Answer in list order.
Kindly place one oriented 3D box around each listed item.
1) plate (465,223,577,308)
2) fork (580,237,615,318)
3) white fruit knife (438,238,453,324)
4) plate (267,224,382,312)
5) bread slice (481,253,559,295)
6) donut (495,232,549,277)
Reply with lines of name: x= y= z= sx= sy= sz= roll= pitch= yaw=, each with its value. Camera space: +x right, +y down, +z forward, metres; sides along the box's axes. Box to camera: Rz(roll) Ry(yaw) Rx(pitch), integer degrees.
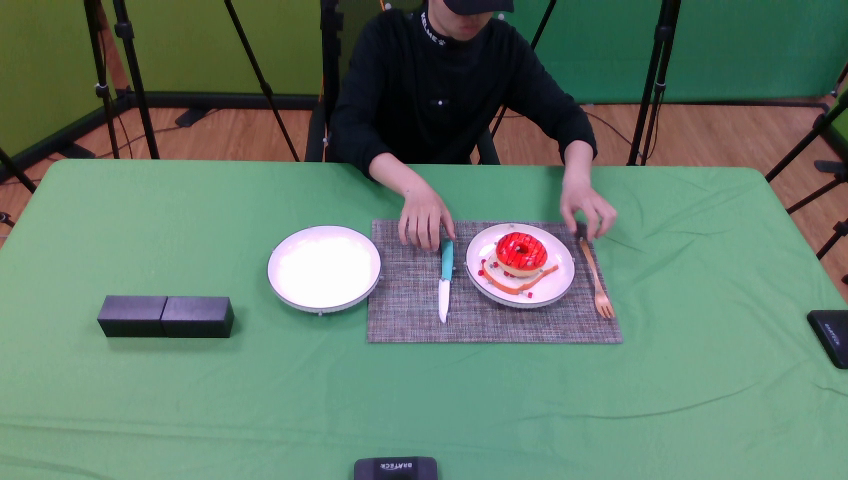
plate: x=0.180 y=0.051 z=1.144 sx=0.209 sy=0.038 sz=0.208 roll=2 pitch=45 yaw=-2
fork: x=0.325 y=0.067 z=1.151 sx=0.028 sy=0.019 sz=0.206 roll=-6 pitch=48 yaw=1
white fruit knife: x=0.040 y=0.073 z=1.130 sx=0.027 sy=0.016 sz=0.206 roll=-17 pitch=44 yaw=21
plate: x=-0.182 y=0.055 z=1.120 sx=0.208 sy=0.039 sz=0.206 roll=2 pitch=46 yaw=-2
bread slice: x=0.177 y=0.049 z=1.148 sx=0.131 sy=0.019 sz=0.104 roll=-32 pitch=55 yaw=-30
donut: x=0.180 y=0.026 z=1.119 sx=0.099 sy=0.048 sz=0.098 roll=2 pitch=46 yaw=-2
